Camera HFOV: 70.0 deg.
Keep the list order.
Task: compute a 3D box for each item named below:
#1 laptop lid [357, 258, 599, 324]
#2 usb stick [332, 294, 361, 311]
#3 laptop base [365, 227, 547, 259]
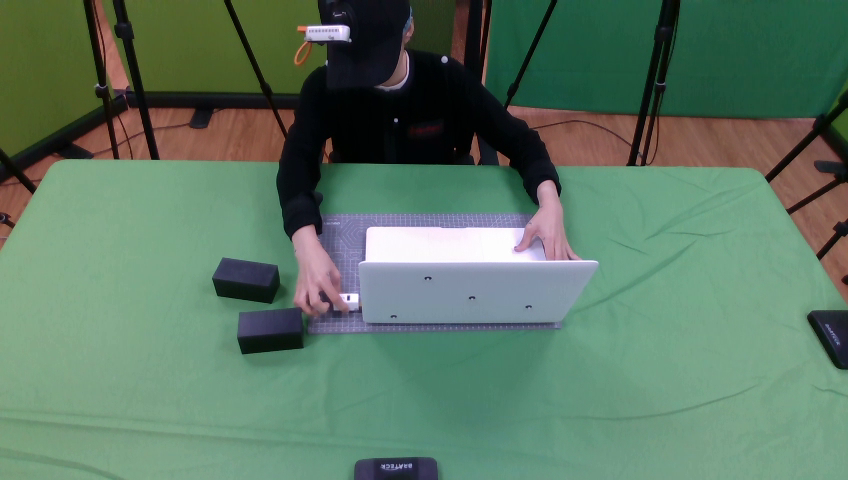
[{"bbox_3d":[0.075,0.087,0.960,0.357,0.242,0.013,1,60,-5],"label":"laptop lid"},{"bbox_3d":[-0.131,0.111,1.066,0.059,0.027,0.021,1,48,-7],"label":"usb stick"},{"bbox_3d":[0.065,0.062,1.145,0.355,0.023,0.234,0,43,-4],"label":"laptop base"}]
